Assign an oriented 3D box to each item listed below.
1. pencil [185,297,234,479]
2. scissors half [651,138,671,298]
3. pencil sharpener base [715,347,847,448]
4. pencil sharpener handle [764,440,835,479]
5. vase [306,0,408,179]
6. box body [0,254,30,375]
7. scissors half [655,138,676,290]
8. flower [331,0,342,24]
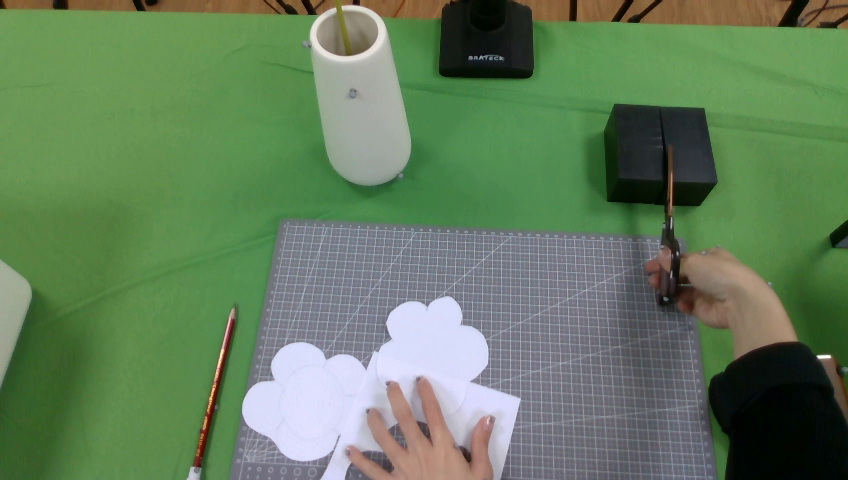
[{"bbox_3d":[-0.209,0.146,0.599,0.012,0.012,0.192,3,63,3],"label":"pencil"},{"bbox_3d":[0.251,-0.025,0.637,0.013,0.040,0.174,7,81,13],"label":"scissors half"},{"bbox_3d":[0.315,0.146,0.537,0.061,0.108,0.076,-2,65,0],"label":"pencil sharpener base"},{"bbox_3d":[0.313,0.186,0.504,0.036,0.068,0.030,4,64,-12],"label":"pencil sharpener handle"},{"bbox_3d":[-0.069,-0.150,0.631,0.098,0.201,0.097,-1,63,2],"label":"vase"},{"bbox_3d":[-0.543,0.151,0.515,0.254,0.161,0.361,3,65,2],"label":"box body"},{"bbox_3d":[0.248,-0.032,0.618,0.013,0.040,0.174,8,64,8],"label":"scissors half"},{"bbox_3d":[-0.077,-0.198,0.562,0.044,0.365,0.038,-4,47,3],"label":"flower"}]
